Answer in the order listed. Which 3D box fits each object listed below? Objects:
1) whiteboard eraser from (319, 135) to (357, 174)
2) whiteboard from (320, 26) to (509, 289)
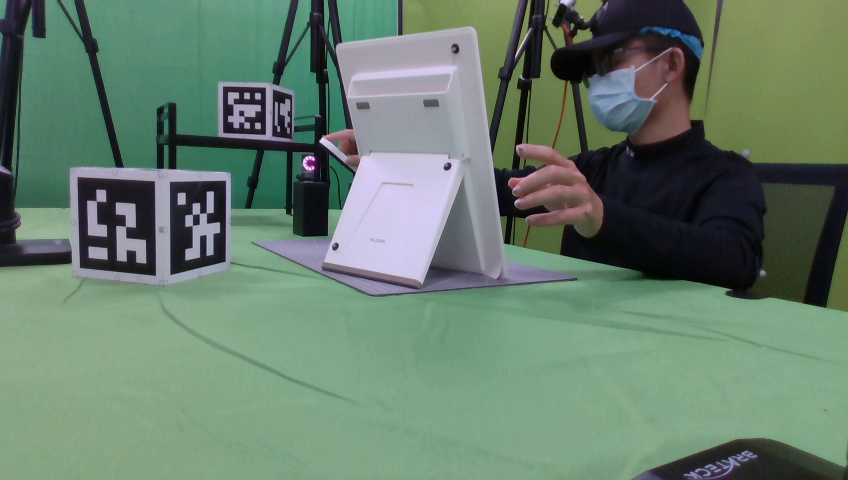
[{"bbox_3d":[-0.159,-0.162,1.143,0.102,0.019,0.041,42,0,-40],"label":"whiteboard eraser"},{"bbox_3d":[-0.046,-0.076,0.721,0.216,0.305,0.144,9,29,39],"label":"whiteboard"}]
